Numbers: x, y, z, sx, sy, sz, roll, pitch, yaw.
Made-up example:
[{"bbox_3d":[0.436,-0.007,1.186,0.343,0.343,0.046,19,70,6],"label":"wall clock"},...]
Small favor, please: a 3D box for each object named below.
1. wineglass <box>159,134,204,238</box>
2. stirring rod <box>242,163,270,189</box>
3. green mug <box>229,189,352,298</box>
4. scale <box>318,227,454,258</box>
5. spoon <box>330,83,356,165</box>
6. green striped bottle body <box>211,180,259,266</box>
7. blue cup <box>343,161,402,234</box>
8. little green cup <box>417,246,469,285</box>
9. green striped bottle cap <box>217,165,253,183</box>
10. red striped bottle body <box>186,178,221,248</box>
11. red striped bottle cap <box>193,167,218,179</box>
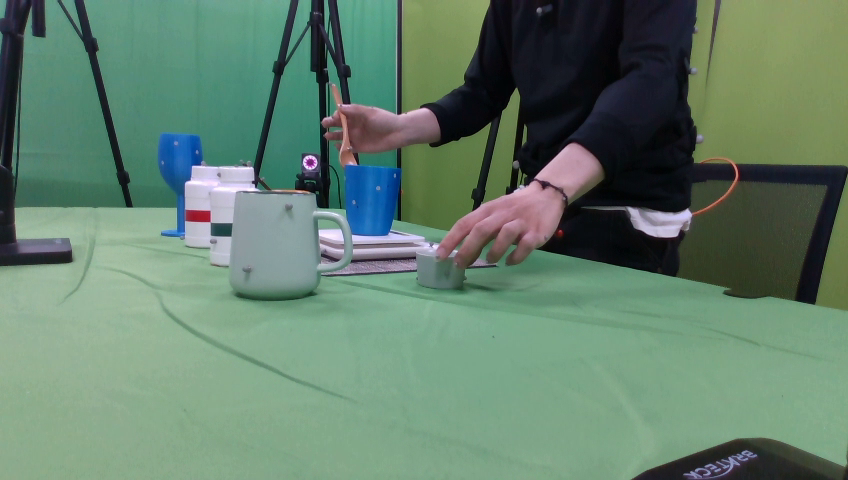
[{"bbox_3d":[-0.415,-0.093,1.040,0.074,0.172,0.073,2,7,0],"label":"wineglass"},{"bbox_3d":[-0.298,-0.091,1.198,0.014,0.006,0.177,10,-31,45],"label":"stirring rod"},{"bbox_3d":[-0.135,0.002,0.618,0.125,0.105,0.092,2,7,4],"label":"green mug"},{"bbox_3d":[-0.067,0.001,0.906,0.202,0.031,0.148,-2,8,-31],"label":"scale"},{"bbox_3d":[-0.140,-0.196,1.051,0.021,0.193,0.042,-28,-27,36],"label":"spoon"},{"bbox_3d":[-0.243,-0.029,0.784,0.063,0.119,0.063,2,7,0],"label":"green striped bottle body"},{"bbox_3d":[-0.078,-0.062,0.884,0.093,0.100,0.092,3,6,0],"label":"blue cup"},{"bbox_3d":[0.021,0.029,0.701,0.061,0.038,0.061,1,7,0],"label":"little green cup"},{"bbox_3d":[-0.242,-0.085,0.777,0.044,0.020,0.044,2,9,0],"label":"green striped bottle cap"},{"bbox_3d":[-0.331,-0.050,0.927,0.063,0.119,0.063,2,6,0],"label":"red striped bottle body"},{"bbox_3d":[-0.329,-0.103,0.921,0.044,0.017,0.044,-1,9,0],"label":"red striped bottle cap"}]
